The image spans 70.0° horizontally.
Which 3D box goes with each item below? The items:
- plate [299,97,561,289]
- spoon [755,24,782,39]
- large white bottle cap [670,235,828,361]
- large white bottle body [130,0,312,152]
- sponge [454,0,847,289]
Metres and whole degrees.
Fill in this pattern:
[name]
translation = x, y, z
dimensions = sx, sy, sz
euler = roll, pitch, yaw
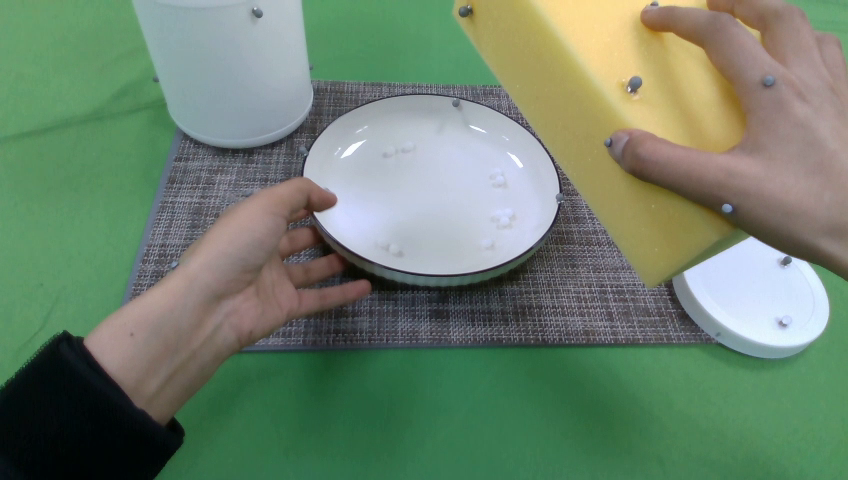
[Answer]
[plate]
translation = 0.005, -0.040, 0.496
dimensions = 0.209, 0.038, 0.207
euler = 3, 50, -4
[spoon]
translation = 0.212, -0.157, 0.542
dimensions = 0.022, 0.193, 0.041
euler = 55, 52, -20
[large white bottle cap]
translation = 0.250, 0.039, 0.469
dimensions = 0.115, 0.018, 0.113
euler = 4, 51, -4
[large white bottle body]
translation = -0.167, -0.182, 0.503
dimensions = 0.131, 0.186, 0.129
euler = 2, 51, -2
[sponge]
translation = 0.122, -0.089, 0.340
dimensions = 0.118, 0.061, 0.205
euler = -24, 70, -21
